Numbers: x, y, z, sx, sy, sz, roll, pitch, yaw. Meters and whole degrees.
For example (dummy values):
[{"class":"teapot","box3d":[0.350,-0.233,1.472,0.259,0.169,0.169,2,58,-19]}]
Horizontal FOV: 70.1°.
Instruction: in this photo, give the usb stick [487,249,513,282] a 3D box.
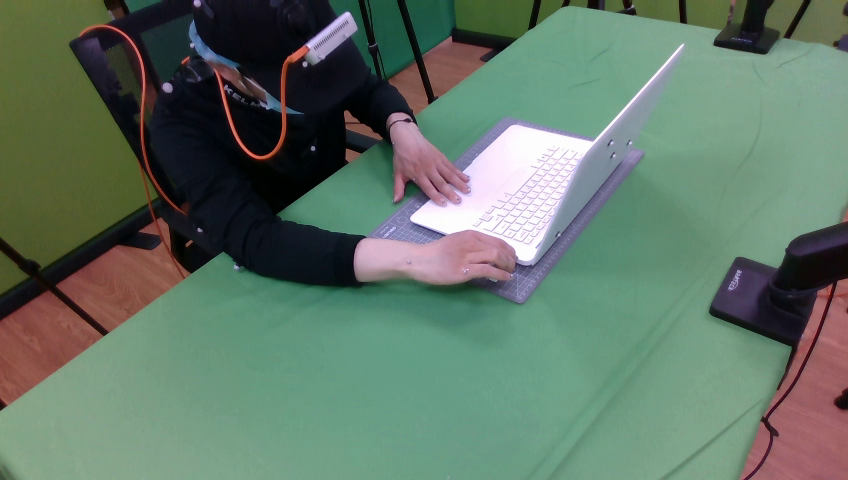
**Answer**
[{"class":"usb stick","box3d":[0.116,0.034,0.895,0.021,0.027,0.059,22,42,26]}]

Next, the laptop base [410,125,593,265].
[{"class":"laptop base","box3d":[0.169,-0.093,1.057,0.233,0.023,0.355,19,47,32]}]

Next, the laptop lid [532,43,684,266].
[{"class":"laptop lid","box3d":[0.280,-0.130,0.908,0.013,0.242,0.357,34,52,17]}]
